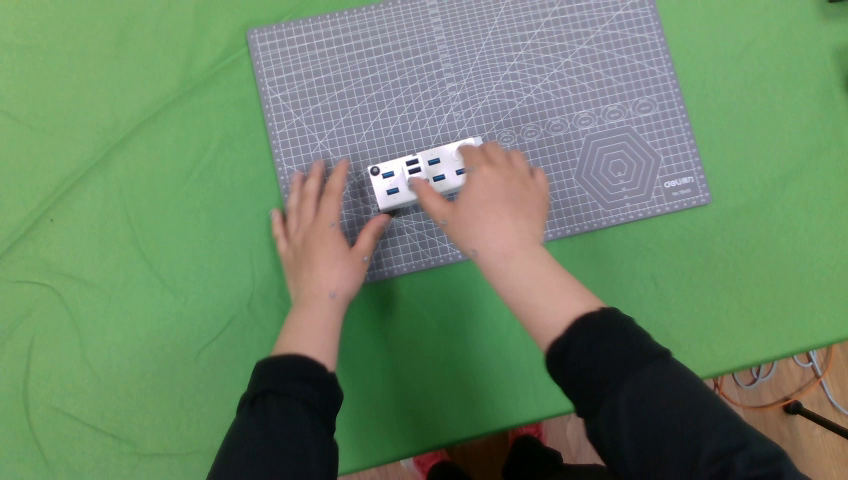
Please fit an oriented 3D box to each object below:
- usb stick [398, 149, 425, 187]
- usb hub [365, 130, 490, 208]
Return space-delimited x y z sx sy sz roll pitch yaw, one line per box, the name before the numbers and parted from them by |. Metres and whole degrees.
usb stick | -0.013 -0.070 0.610 0.021 0.059 0.027 -19 82 -3
usb hub | 0.003 -0.076 0.641 0.125 0.025 0.049 -17 83 -3
